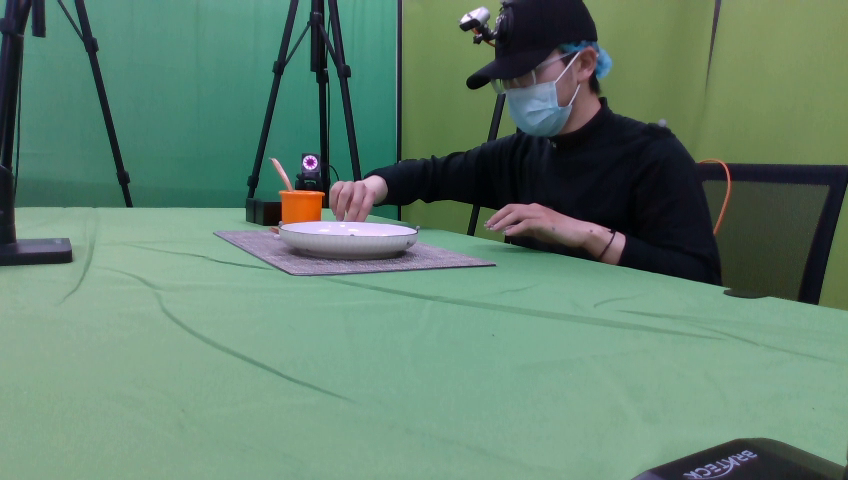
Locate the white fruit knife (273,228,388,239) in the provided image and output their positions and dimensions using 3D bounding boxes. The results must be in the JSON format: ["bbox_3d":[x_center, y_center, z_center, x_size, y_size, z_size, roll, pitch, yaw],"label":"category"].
[{"bbox_3d":[-0.158,-0.009,1.055,0.208,0.016,0.027,-3,-22,-23],"label":"white fruit knife"}]

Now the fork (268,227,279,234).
[{"bbox_3d":[-0.175,-0.017,1.086,0.208,0.018,0.028,-2,-9,-30],"label":"fork"}]

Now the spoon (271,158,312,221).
[{"bbox_3d":[-0.277,-0.103,1.247,0.042,0.193,0.021,-5,-34,-38],"label":"spoon"}]

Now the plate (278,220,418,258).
[{"bbox_3d":[-0.114,-0.002,0.914,0.209,0.038,0.209,2,7,0],"label":"plate"}]
